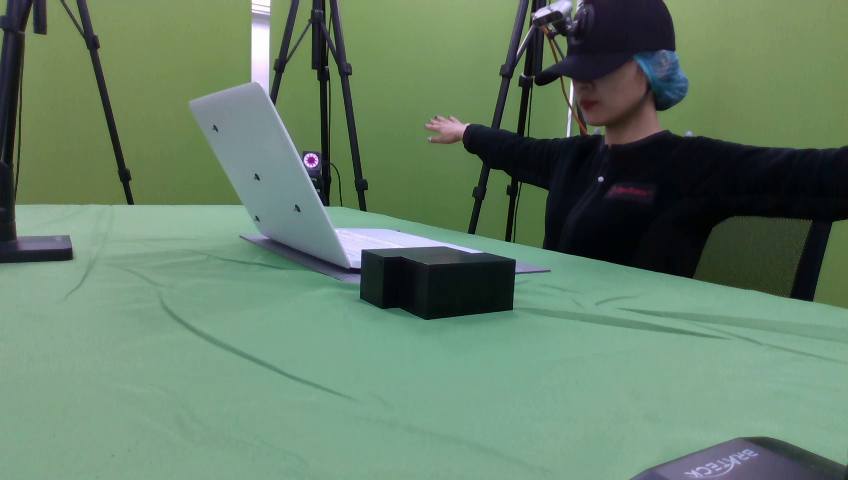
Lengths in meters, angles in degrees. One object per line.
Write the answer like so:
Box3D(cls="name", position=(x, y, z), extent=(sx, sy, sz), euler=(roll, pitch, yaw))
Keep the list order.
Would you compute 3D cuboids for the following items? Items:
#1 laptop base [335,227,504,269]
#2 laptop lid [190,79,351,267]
Box3D(cls="laptop base", position=(-0.077, 0.009, 0.914), extent=(0.237, 0.023, 0.352), euler=(1, 7, -33))
Box3D(cls="laptop lid", position=(-0.220, -0.087, 0.809), extent=(0.013, 0.242, 0.355), euler=(-34, 25, -24))
